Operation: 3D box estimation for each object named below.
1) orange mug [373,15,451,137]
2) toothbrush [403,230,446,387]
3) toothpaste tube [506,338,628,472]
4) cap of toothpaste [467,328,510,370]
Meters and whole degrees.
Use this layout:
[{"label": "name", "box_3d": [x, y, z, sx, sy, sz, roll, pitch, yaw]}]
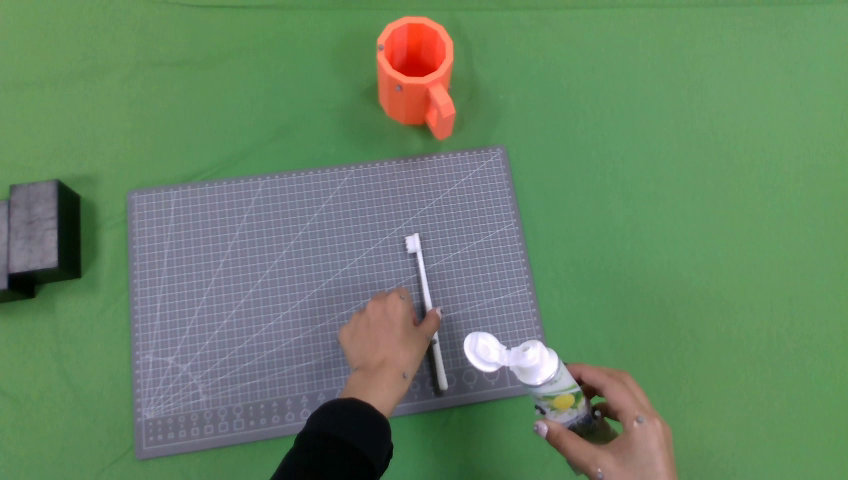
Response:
[{"label": "orange mug", "box_3d": [-0.008, -0.186, 0.713, 0.083, 0.101, 0.125, -29, 73, -11]}, {"label": "toothbrush", "box_3d": [0.001, 0.075, 0.681, 0.016, 0.014, 0.181, -11, 75, -4]}, {"label": "toothpaste tube", "box_3d": [0.114, 0.138, 0.497, 0.055, 0.034, 0.166, -30, 120, 13]}, {"label": "cap of toothpaste", "box_3d": [0.050, 0.083, 0.467, 0.037, 0.011, 0.037, 17, 49, -20]}]
